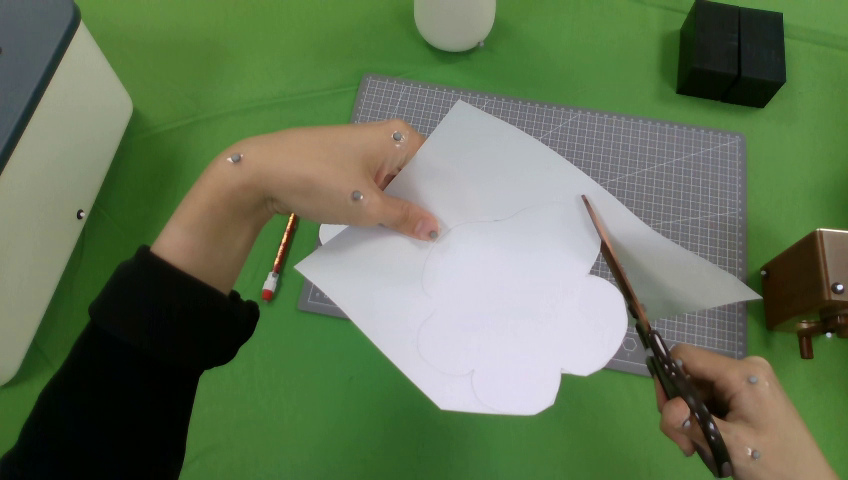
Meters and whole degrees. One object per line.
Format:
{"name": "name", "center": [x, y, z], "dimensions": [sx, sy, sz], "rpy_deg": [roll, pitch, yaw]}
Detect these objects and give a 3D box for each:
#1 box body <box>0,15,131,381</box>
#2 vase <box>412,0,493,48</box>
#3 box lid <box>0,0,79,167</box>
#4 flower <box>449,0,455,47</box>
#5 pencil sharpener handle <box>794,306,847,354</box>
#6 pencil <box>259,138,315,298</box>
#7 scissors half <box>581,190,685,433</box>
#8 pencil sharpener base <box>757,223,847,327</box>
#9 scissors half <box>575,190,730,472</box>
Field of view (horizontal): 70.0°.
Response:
{"name": "box body", "center": [-0.479, -0.061, 0.580], "dimensions": [0.254, 0.161, 0.361], "rpy_deg": [10, 68, 4]}
{"name": "vase", "center": [0.033, -0.306, 0.663], "dimensions": [0.098, 0.201, 0.097], "rpy_deg": [0, 67, 1]}
{"name": "box lid", "center": [-0.479, -0.091, 0.511], "dimensions": [0.263, 0.015, 0.369], "rpy_deg": [10, 68, 3]}
{"name": "flower", "center": [0.028, -0.351, 0.591], "dimensions": [0.044, 0.365, 0.038], "rpy_deg": [3, 50, 5]}
{"name": "pencil sharpener handle", "center": [0.364, 0.082, 0.545], "dimensions": [0.036, 0.068, 0.030], "rpy_deg": [11, 68, -10]}
{"name": "pencil", "center": [-0.144, -0.029, 0.653], "dimensions": [0.012, 0.012, 0.193], "rpy_deg": [11, 67, 5]}
{"name": "scissors half", "center": [0.127, 0.045, 0.360], "dimensions": [0.013, 0.039, 0.176], "rpy_deg": [-26, 112, 8]}
{"name": "pencil sharpener base", "center": [0.374, 0.040, 0.576], "dimensions": [0.061, 0.108, 0.076], "rpy_deg": [6, 68, 2]}
{"name": "scissors half", "center": [0.126, 0.049, 0.339], "dimensions": [0.013, 0.040, 0.174], "rpy_deg": [-27, 85, 3]}
